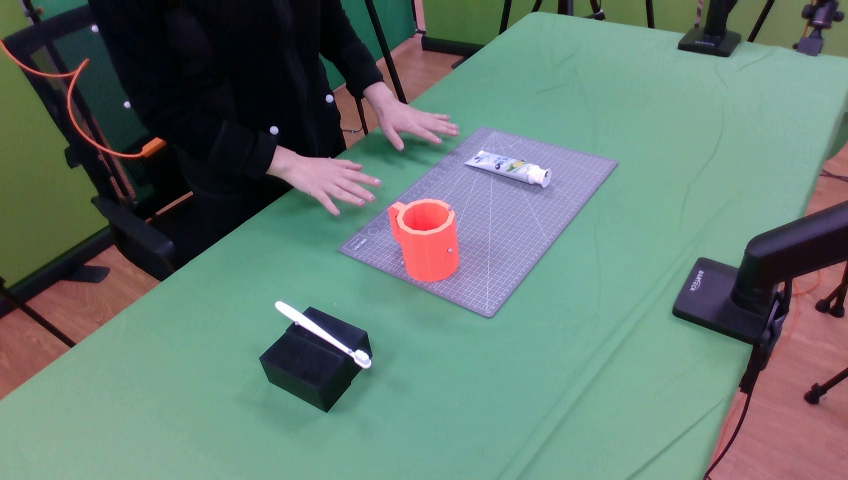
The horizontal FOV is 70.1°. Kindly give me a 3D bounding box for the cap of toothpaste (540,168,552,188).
[{"bbox_3d":[0.213,-0.109,1.059,0.011,0.037,0.037,19,47,27],"label":"cap of toothpaste"}]

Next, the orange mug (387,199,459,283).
[{"bbox_3d":[-0.006,-0.007,0.923,0.125,0.101,0.084,32,54,32],"label":"orange mug"}]

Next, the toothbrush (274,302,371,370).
[{"bbox_3d":[-0.135,0.119,0.783,0.180,0.017,0.014,25,53,33],"label":"toothbrush"}]

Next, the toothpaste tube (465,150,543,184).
[{"bbox_3d":[0.154,-0.135,1.108,0.163,0.034,0.055,23,43,36],"label":"toothpaste tube"}]
